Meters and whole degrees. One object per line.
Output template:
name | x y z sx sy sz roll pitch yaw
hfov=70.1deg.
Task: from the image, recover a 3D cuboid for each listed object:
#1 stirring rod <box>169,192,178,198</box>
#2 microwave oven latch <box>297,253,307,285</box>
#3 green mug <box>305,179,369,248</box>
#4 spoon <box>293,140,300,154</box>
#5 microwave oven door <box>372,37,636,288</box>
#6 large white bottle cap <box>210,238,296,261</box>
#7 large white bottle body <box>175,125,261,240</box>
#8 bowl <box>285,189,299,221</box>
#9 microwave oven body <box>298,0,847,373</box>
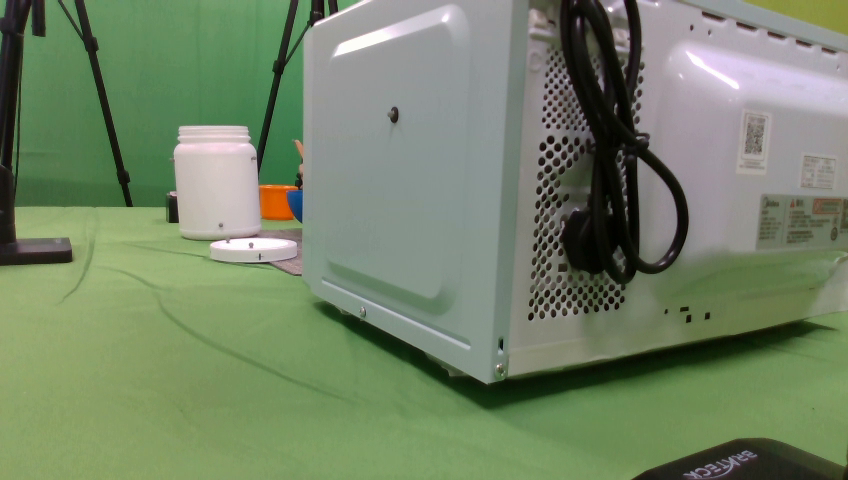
stirring rod | -0.465 -0.098 1.283 0.014 0.006 0.177 42 21 17
microwave oven latch | -0.082 0.027 0.582 0.079 0.029 0.030 -1 7 -32
green mug | -0.133 -0.045 0.977 0.092 0.105 0.126 6 8 32
spoon | -0.217 -0.120 1.174 0.042 0.193 0.021 -6 -26 -38
microwave oven door | 0.109 -0.080 0.686 0.358 0.243 0.039 -2 9 -33
large white bottle cap | -0.236 0.012 0.839 0.115 0.018 0.115 1 7 0
large white bottle body | -0.349 -0.100 1.025 0.131 0.184 0.130 -1 9 0
bowl | -0.180 -0.050 1.113 0.151 0.077 0.151 3 8 0
microwave oven body | 0.151 -0.055 0.542 0.444 0.260 0.324 -2 7 -33
